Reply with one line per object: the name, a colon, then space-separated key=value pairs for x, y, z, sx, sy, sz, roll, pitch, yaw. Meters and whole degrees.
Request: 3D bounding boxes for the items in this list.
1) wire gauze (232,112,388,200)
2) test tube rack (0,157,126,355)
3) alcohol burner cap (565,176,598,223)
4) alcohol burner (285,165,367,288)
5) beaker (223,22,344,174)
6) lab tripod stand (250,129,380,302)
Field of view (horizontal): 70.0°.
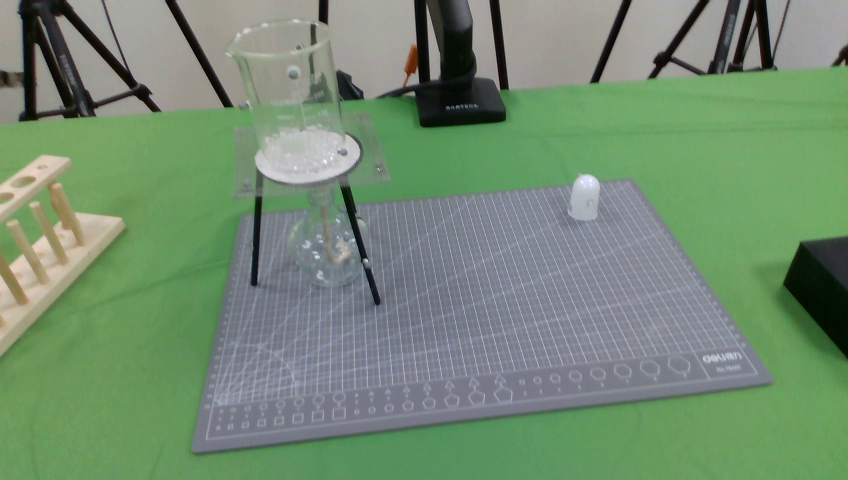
wire gauze: x=-0.100 y=-0.072 z=0.512 sx=0.125 sy=0.011 sz=0.120 roll=-11 pitch=37 yaw=-7
test tube rack: x=-0.385 y=0.024 z=0.552 sx=0.066 sy=0.086 sz=0.240 roll=7 pitch=39 yaw=11
alcohol burner cap: x=0.170 y=-0.046 z=0.646 sx=0.034 sy=0.048 sz=0.033 roll=-2 pitch=38 yaw=2
alcohol burner: x=-0.093 y=-0.015 z=0.561 sx=0.078 sy=0.120 sz=0.077 roll=-2 pitch=37 yaw=2
beaker: x=-0.106 y=-0.110 z=0.481 sx=0.084 sy=0.101 sz=0.073 roll=-10 pitch=39 yaw=-8
lab tripod stand: x=-0.098 y=-0.021 z=0.553 sx=0.148 sy=0.133 sz=0.147 roll=-2 pitch=40 yaw=2
